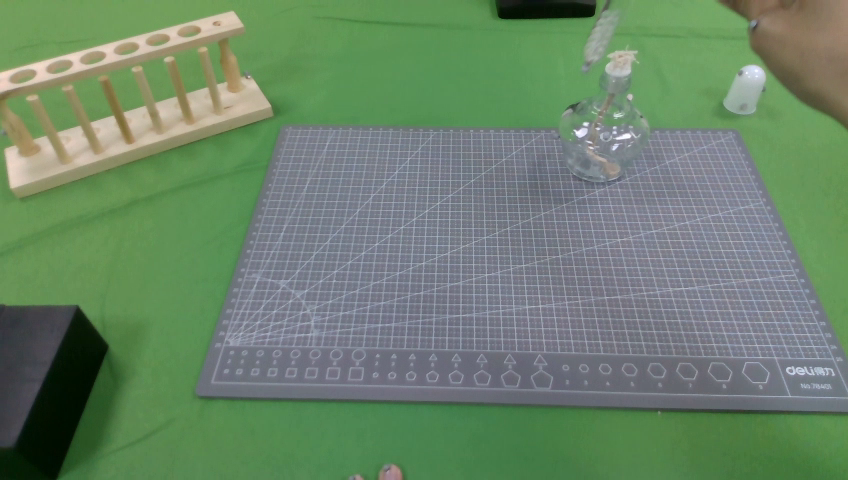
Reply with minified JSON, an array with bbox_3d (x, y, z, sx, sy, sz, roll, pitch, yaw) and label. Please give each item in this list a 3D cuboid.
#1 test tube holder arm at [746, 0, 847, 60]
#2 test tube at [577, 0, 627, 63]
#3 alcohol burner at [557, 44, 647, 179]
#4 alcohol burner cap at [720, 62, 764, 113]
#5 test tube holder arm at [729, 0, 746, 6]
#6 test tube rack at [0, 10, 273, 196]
[{"bbox_3d":[0.183,-0.137,0.336,0.177,0.015,0.013,35,57,12],"label":"test tube holder arm"},{"bbox_3d":[0.124,-0.168,0.353,0.017,0.151,0.017,8,51,-9],"label":"test tube"},{"bbox_3d":[0.156,-0.112,0.521,0.078,0.120,0.077,0,47,0],"label":"alcohol burner"},{"bbox_3d":[0.322,-0.155,0.608,0.034,0.048,0.033,-1,48,2],"label":"alcohol burner cap"},{"bbox_3d":[0.143,-0.157,0.341,0.087,0.015,0.010,30,56,9],"label":"test tube holder arm"},{"bbox_3d":[-0.277,-0.133,0.570,0.243,0.086,0.066,-23,52,-18],"label":"test tube rack"}]
